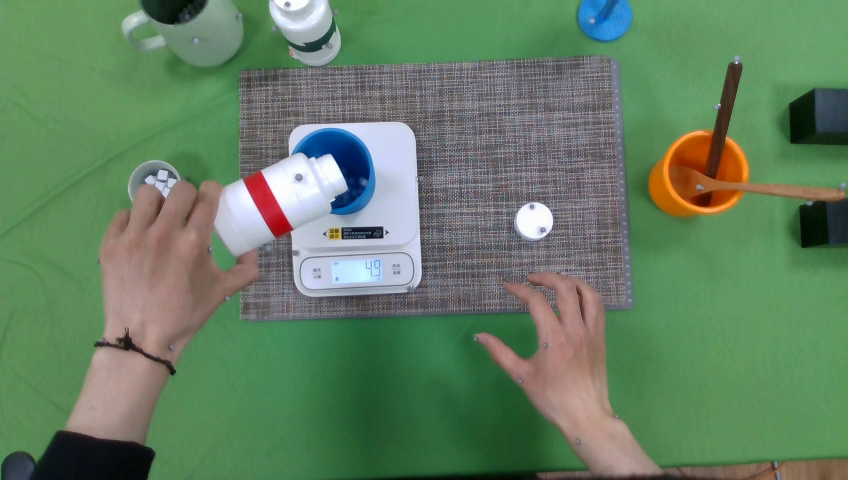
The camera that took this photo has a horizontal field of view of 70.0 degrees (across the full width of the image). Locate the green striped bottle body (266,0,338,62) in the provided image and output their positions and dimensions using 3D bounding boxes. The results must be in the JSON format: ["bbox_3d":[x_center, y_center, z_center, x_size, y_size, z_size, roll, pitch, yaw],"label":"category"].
[{"bbox_3d":[-0.137,-0.252,0.681,0.063,0.119,0.063,0,84,1],"label":"green striped bottle body"}]

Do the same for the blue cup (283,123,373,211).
[{"bbox_3d":[-0.092,-0.069,0.639,0.092,0.100,0.092,0,87,1],"label":"blue cup"}]

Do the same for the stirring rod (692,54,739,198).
[{"bbox_3d":[0.310,-0.115,0.648,0.014,0.178,0.006,5,44,14],"label":"stirring rod"}]

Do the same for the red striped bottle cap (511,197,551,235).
[{"bbox_3d":[0.125,-0.028,0.705,0.044,0.018,0.044,1,83,-4],"label":"red striped bottle cap"}]

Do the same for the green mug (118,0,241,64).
[{"bbox_3d":[-0.282,-0.253,0.691,0.125,0.105,0.092,-24,85,-1],"label":"green mug"}]

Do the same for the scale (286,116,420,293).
[{"bbox_3d":[-0.083,-0.042,0.702,0.149,0.031,0.200,-3,85,1],"label":"scale"}]

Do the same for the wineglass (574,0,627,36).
[{"bbox_3d":[0.211,-0.288,0.652,0.074,0.172,0.073,0,84,2],"label":"wineglass"}]

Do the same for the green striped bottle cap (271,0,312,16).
[{"bbox_3d":[-0.139,-0.258,0.629,0.044,0.020,0.044,0,83,0],"label":"green striped bottle cap"}]

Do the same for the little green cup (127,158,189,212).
[{"bbox_3d":[-0.307,-0.062,0.706,0.061,0.039,0.061,0,84,0],"label":"little green cup"}]

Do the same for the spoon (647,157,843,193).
[{"bbox_3d":[0.331,-0.063,0.643,0.022,0.192,0.041,12,91,-41],"label":"spoon"}]

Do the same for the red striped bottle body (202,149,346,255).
[{"bbox_3d":[-0.133,-0.040,0.552,0.120,0.063,0.063,-28,85,-8],"label":"red striped bottle body"}]
